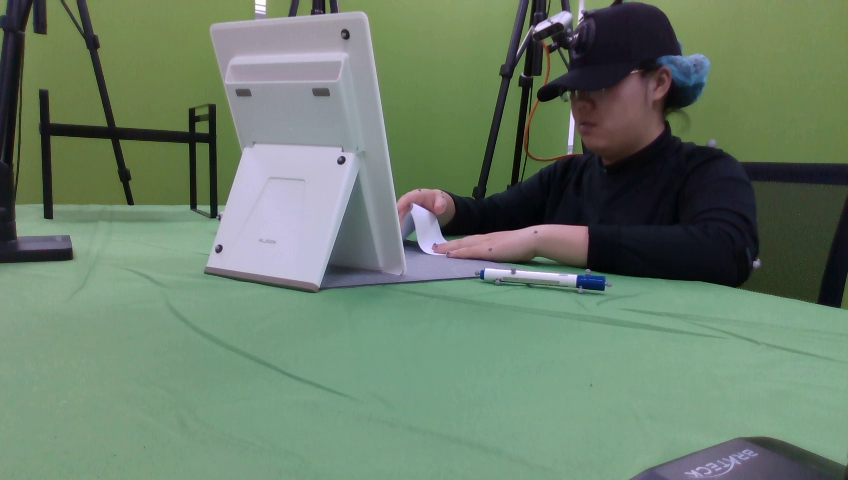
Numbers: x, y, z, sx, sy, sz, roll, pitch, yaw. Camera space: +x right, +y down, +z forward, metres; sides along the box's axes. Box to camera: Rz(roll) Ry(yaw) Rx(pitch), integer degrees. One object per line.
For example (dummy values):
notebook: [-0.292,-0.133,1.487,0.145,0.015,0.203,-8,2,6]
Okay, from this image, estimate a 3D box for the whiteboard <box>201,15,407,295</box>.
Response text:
whiteboard: [-0.167,-0.073,0.668,0.216,0.305,0.144,7,30,28]

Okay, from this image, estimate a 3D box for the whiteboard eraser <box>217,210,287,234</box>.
whiteboard eraser: [-0.310,-0.034,1.094,0.113,0.042,0.055,-2,11,-38]

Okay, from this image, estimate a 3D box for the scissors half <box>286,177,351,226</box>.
scissors half: [-0.232,-0.085,1.317,0.175,0.013,0.040,37,18,4]

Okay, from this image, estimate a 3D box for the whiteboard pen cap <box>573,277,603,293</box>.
whiteboard pen cap: [0.186,0.051,0.687,0.033,0.018,0.018,4,7,18]

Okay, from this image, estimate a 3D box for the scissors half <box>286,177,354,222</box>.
scissors half: [-0.230,-0.090,1.337,0.175,0.013,0.040,33,13,-13]

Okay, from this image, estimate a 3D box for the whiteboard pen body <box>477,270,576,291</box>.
whiteboard pen body: [0.131,0.048,0.706,0.140,0.017,0.017,4,8,18]
